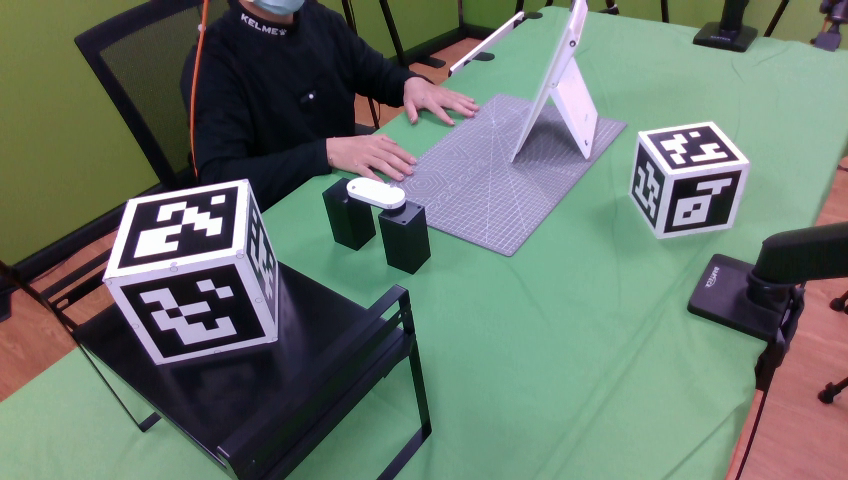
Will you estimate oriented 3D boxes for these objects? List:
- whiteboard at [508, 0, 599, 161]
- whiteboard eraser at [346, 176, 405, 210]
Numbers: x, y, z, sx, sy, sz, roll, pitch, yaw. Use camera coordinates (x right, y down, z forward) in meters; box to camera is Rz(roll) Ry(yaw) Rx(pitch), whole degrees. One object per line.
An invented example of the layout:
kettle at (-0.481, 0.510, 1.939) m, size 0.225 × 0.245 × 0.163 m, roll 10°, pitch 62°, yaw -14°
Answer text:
whiteboard at (0.285, -0.289, 1.088) m, size 0.144 × 0.305 × 0.217 m, roll 22°, pitch 45°, yaw 3°
whiteboard eraser at (-0.073, -0.072, 0.909) m, size 0.100 × 0.019 × 0.041 m, roll 20°, pitch 49°, yaw 29°
